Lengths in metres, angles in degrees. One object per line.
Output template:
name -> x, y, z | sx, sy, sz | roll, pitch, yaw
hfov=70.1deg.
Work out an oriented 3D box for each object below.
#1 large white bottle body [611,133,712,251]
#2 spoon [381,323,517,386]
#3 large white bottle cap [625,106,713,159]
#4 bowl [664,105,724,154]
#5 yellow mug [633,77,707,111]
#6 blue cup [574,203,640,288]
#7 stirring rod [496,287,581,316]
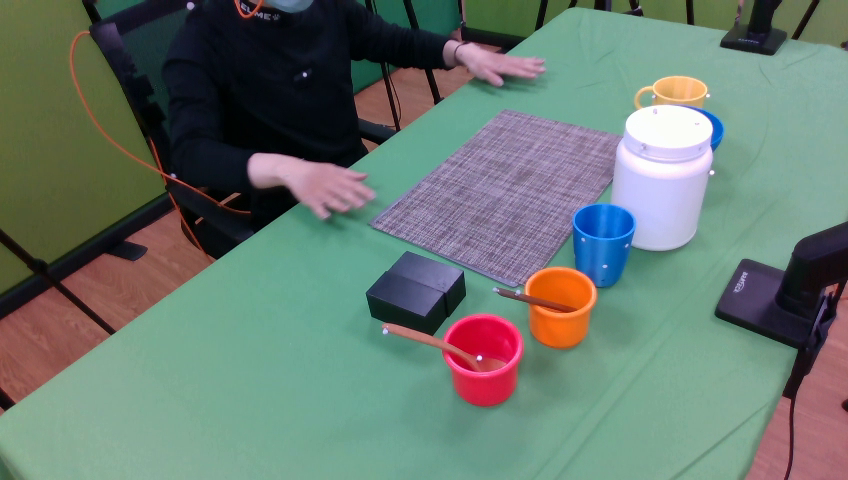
large white bottle body -> 0.351, -0.090, 0.904 | 0.130, 0.185, 0.130 | -5, 41, 4
spoon -> 0.033, 0.133, 0.722 | 0.195, 0.021, 0.041 | 29, 33, -26
large white bottle cap -> 0.342, -0.153, 0.848 | 0.115, 0.018, 0.114 | -4, 41, 4
bowl -> 0.438, -0.166, 1.063 | 0.151, 0.077, 0.150 | -4, 41, 4
yellow mug -> 0.479, -0.270, 1.186 | 0.130, 0.064, 0.100 | 10, 44, 21
blue cup -> 0.254, 0.013, 0.864 | 0.092, 0.100, 0.092 | -4, 38, 4
stirring rod -> 0.150, 0.080, 0.773 | 0.178, 0.006, 0.014 | 17, 21, -42
